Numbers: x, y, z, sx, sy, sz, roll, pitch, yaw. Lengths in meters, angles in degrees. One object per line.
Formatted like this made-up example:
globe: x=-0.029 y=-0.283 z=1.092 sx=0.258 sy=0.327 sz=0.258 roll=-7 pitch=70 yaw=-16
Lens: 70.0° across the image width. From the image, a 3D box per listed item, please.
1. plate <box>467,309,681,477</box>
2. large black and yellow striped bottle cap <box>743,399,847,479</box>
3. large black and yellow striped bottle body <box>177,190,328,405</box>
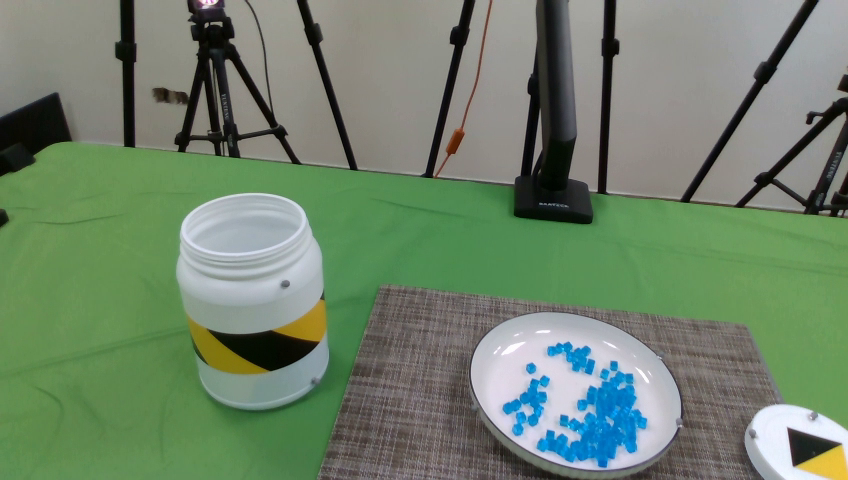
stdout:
plate: x=0.146 y=0.150 z=0.606 sx=0.208 sy=0.039 sz=0.205 roll=2 pitch=34 yaw=-1
large black and yellow striped bottle cap: x=0.363 y=0.199 z=0.570 sx=0.115 sy=0.019 sz=0.114 roll=5 pitch=36 yaw=-4
large black and yellow striped bottle body: x=-0.164 y=0.056 z=0.595 sx=0.131 sy=0.185 sz=0.129 roll=2 pitch=34 yaw=-1
